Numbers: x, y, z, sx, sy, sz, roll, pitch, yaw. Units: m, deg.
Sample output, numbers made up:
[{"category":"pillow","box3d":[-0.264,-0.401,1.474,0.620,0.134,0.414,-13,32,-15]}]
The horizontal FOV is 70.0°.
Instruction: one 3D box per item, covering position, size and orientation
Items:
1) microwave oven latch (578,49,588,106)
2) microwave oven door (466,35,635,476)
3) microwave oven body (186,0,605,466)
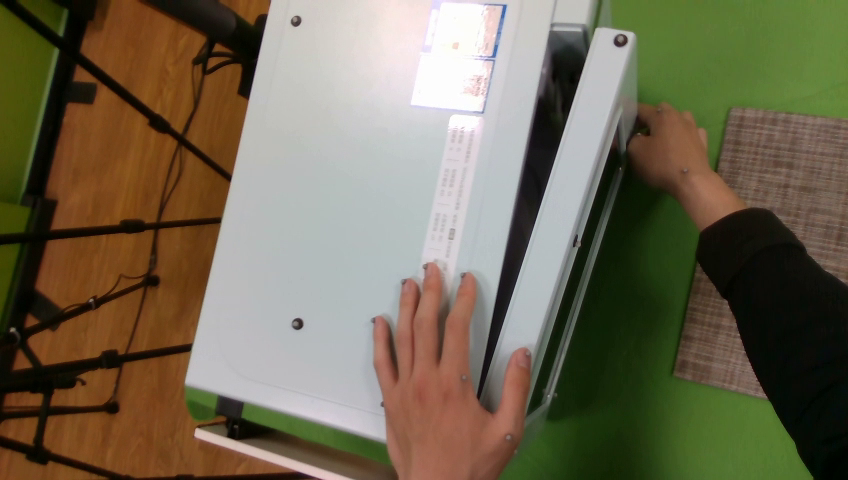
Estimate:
[{"category":"microwave oven latch","box3d":[0.189,-0.180,0.688,0.030,0.029,0.079,10,87,19]},{"category":"microwave oven door","box3d":[0.130,0.025,0.573,0.039,0.245,0.355,17,88,20]},{"category":"microwave oven body","box3d":[-0.014,-0.044,0.636,0.324,0.261,0.441,10,87,19]}]
